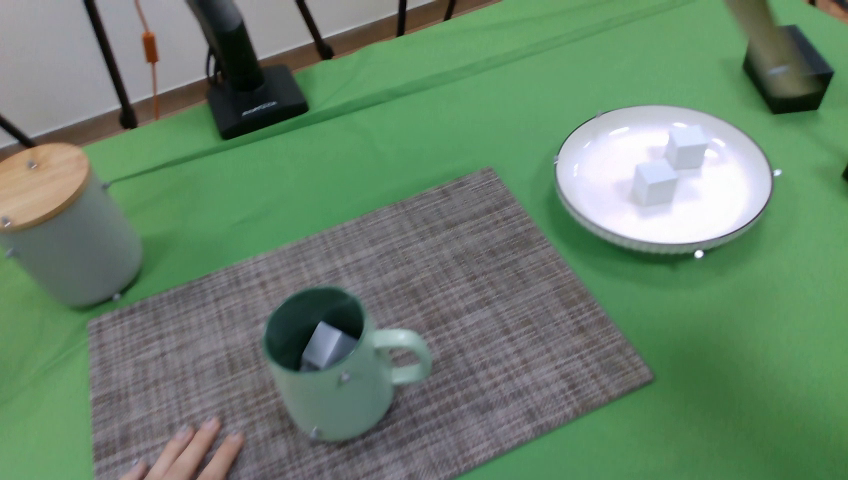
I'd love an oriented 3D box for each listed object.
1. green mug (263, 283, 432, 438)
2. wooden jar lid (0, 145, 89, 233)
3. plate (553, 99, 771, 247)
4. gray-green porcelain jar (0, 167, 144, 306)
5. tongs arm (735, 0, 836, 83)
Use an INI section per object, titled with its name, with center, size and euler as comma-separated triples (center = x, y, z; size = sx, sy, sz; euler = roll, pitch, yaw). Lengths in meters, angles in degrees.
[green mug]
center = -0.057, 0.095, 0.480
size = 0.125, 0.106, 0.091
euler = -5, 48, 4
[wooden jar lid]
center = -0.361, -0.045, 0.558
size = 0.108, 0.021, 0.107
euler = -3, 52, 5
[plate]
center = 0.238, -0.068, 0.624
size = 0.207, 0.039, 0.205
euler = -5, 49, 6
[gray-green porcelain jar]
center = -0.353, -0.004, 0.604
size = 0.106, 0.128, 0.105
euler = -4, 49, 5
[tongs arm]
center = 0.182, -0.168, 0.353
size = 0.027, 0.391, 0.028
euler = 14, 89, 46
